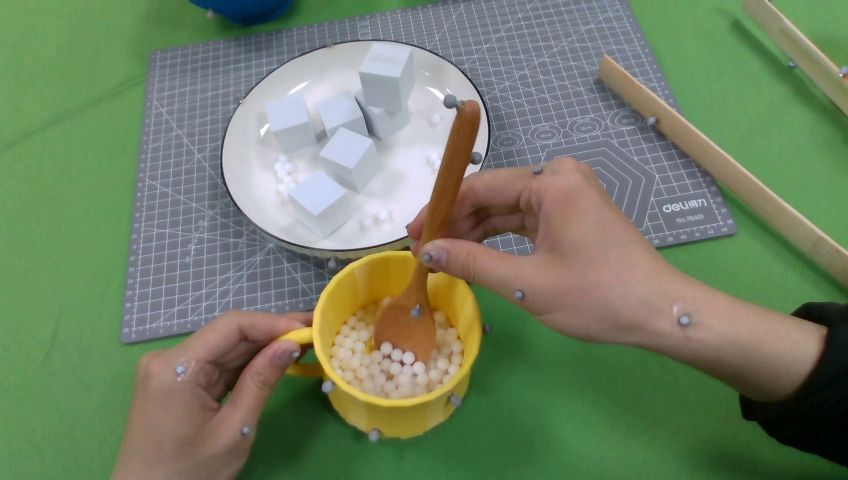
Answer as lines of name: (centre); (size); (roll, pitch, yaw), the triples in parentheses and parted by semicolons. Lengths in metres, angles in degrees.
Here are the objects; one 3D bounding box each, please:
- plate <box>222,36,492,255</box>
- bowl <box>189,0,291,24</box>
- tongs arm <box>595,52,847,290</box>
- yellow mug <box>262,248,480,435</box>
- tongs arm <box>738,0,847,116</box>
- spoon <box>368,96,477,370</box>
plate: (-0.051, -0.075, 0.479); (0.207, 0.039, 0.206); (-2, 61, 4)
bowl: (-0.172, -0.262, 0.574); (0.151, 0.077, 0.150); (-2, 61, 5)
tongs arm: (0.262, -0.019, 0.428); (0.028, 0.028, 0.384); (-33, 64, -17)
yellow mug: (-0.033, 0.065, 0.375); (0.131, 0.064, 0.099); (-6, 58, -7)
tongs arm: (0.333, -0.056, 0.440); (0.051, 0.027, 0.381); (-23, 63, -8)
spoon: (0.000, 0.009, 0.327); (0.041, 0.195, 0.021); (25, 46, 9)
